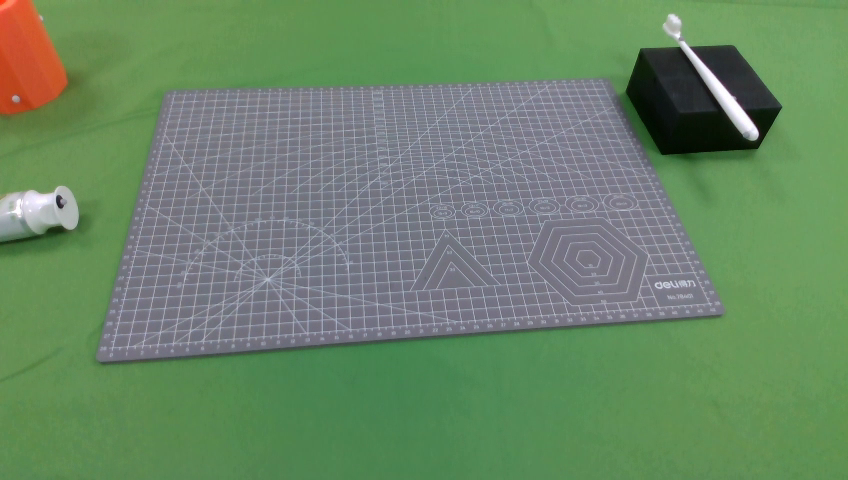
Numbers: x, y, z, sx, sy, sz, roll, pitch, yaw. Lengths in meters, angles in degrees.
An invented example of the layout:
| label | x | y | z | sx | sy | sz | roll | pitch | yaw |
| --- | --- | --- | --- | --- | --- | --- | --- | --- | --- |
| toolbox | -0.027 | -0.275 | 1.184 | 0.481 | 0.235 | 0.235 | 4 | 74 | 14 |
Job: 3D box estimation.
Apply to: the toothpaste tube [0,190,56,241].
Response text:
| label | x | y | z | sx | sy | sz | roll | pitch | yaw |
| --- | --- | --- | --- | --- | --- | --- | --- | --- | --- |
| toothpaste tube | -0.360 | -0.013 | 0.462 | 0.165 | 0.035 | 0.054 | -10 | 47 | -7 |

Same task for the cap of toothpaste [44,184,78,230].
| label | x | y | z | sx | sy | sz | roll | pitch | yaw |
| --- | --- | --- | --- | --- | --- | --- | --- | --- | --- |
| cap of toothpaste | -0.282 | -0.025 | 0.469 | 0.011 | 0.037 | 0.037 | -11 | 51 | -7 |

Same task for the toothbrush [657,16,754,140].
| label | x | y | z | sx | sy | sz | roll | pitch | yaw |
| --- | --- | --- | --- | --- | --- | --- | --- | --- | --- |
| toothbrush | 0.259 | -0.156 | 0.564 | 0.014 | 0.017 | 0.180 | -3 | 51 | -11 |

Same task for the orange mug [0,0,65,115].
| label | x | y | z | sx | sy | sz | roll | pitch | yaw |
| --- | --- | --- | --- | --- | --- | --- | --- | --- | --- |
| orange mug | -0.405 | -0.169 | 0.543 | 0.083 | 0.101 | 0.126 | 29 | 50 | 20 |
